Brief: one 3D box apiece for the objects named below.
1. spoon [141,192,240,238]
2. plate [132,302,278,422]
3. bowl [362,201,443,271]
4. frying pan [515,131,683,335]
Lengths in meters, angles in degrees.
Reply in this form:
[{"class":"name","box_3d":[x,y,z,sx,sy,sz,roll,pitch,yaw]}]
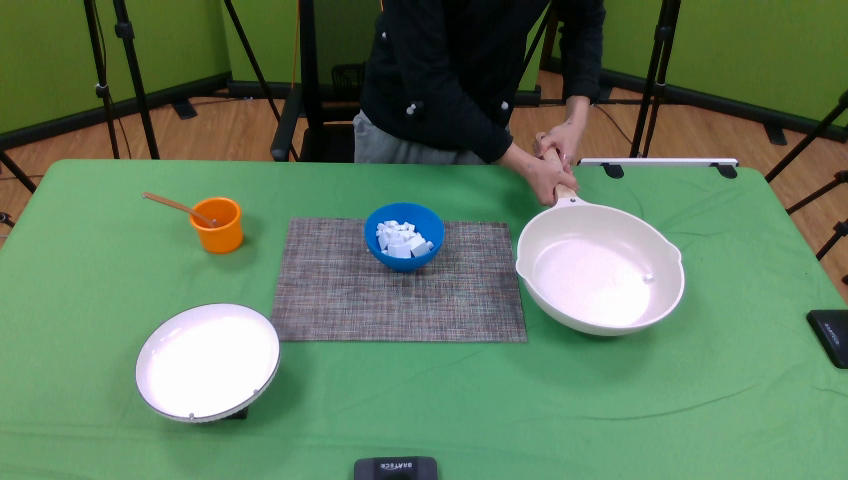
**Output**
[{"class":"spoon","box_3d":[-0.428,-0.048,1.123,0.021,0.195,0.041,-38,44,20]},{"class":"plate","box_3d":[-0.325,0.186,0.916,0.208,0.039,0.206,3,44,-2]},{"class":"bowl","box_3d":[-0.041,0.005,1.144,0.151,0.077,0.150,3,46,-2]},{"class":"frying pan","box_3d":[0.291,-0.031,1.150,0.307,0.103,0.484,-5,56,-9]}]
